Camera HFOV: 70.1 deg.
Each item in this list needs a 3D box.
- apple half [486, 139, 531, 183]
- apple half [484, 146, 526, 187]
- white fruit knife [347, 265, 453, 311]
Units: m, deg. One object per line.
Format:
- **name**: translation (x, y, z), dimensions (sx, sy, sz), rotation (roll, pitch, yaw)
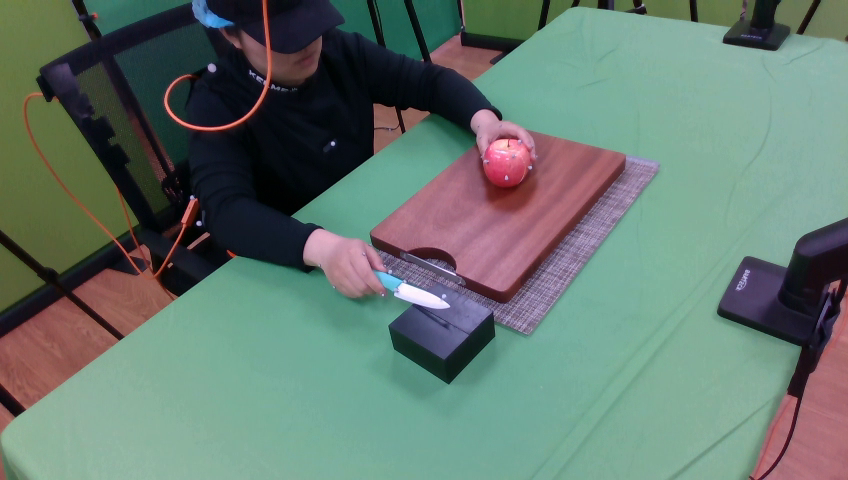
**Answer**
- **apple half**: translation (0.150, -0.139, 1.039), dimensions (0.080, 0.075, 0.053), rotation (12, 40, 30)
- **apple half**: translation (0.130, -0.116, 1.014), dimensions (0.081, 0.081, 0.033), rotation (15, 42, 27)
- **white fruit knife**: translation (-0.037, 0.066, 0.847), dimensions (0.205, 0.027, 0.016), rotation (15, 2, 41)
